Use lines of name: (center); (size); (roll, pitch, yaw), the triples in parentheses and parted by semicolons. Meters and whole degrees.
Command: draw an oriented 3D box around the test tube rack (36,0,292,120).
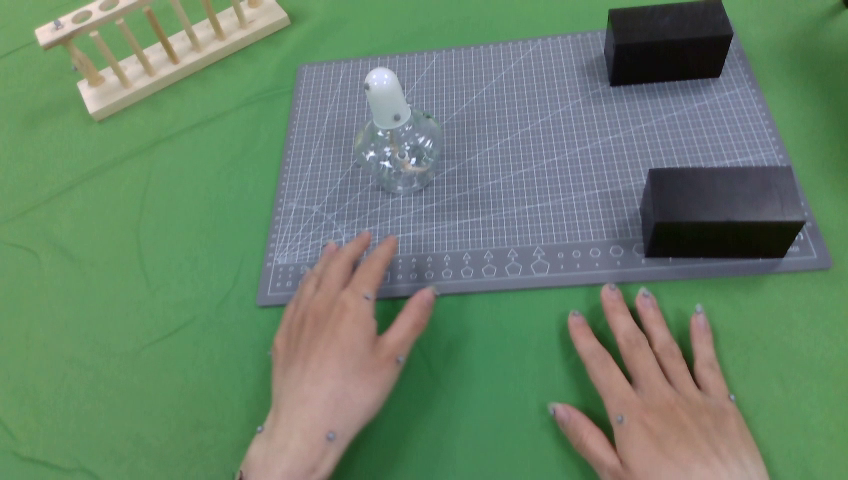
test tube rack: (-0.279, -0.237, 0.670); (0.242, 0.086, 0.066); (-31, 57, -11)

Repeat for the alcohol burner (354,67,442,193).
alcohol burner: (-0.025, -0.096, 0.513); (0.078, 0.120, 0.077); (-5, 54, 7)

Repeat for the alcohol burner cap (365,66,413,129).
alcohol burner cap: (-0.030, -0.116, 0.484); (0.034, 0.048, 0.033); (-8, 52, 11)
